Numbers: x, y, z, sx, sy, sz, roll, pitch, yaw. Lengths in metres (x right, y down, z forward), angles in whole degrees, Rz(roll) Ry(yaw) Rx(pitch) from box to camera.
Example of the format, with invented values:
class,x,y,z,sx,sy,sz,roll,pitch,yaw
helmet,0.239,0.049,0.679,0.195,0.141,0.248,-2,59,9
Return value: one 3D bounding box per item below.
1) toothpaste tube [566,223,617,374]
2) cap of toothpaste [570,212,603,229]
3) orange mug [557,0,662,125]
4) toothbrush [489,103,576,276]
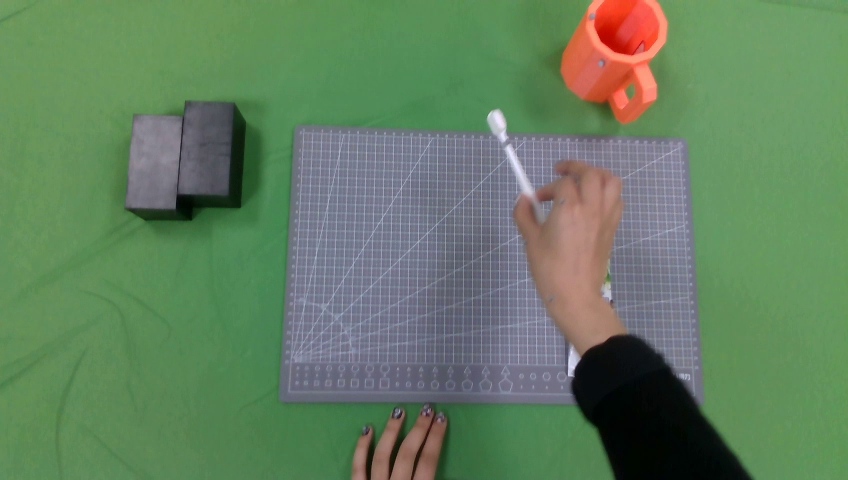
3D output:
class,x,y,z,sx,sy,sz,roll,pitch,yaw
toothpaste tube,0.178,0.061,0.653,0.055,0.034,0.164,-1,83,4
cap of toothpaste,0.178,-0.020,0.662,0.037,0.037,0.011,-12,77,-6
orange mug,0.209,-0.195,0.669,0.083,0.101,0.125,-20,77,-7
toothbrush,0.106,-0.048,0.582,0.014,0.016,0.182,-26,92,-14
